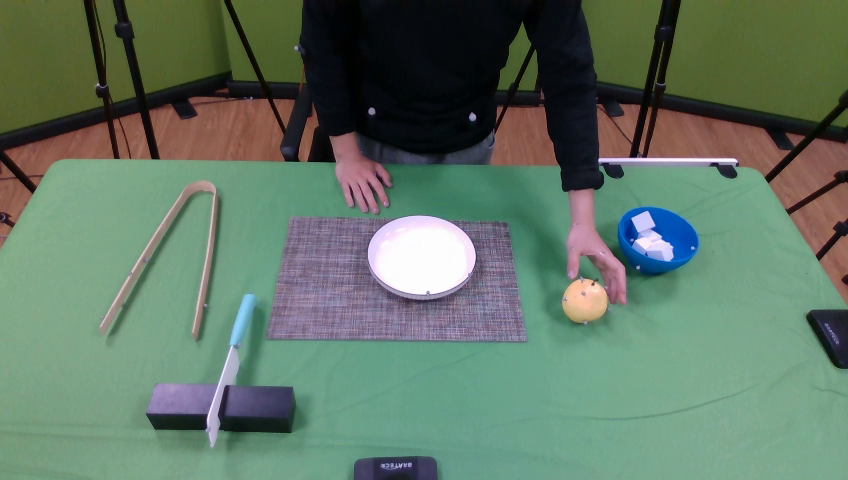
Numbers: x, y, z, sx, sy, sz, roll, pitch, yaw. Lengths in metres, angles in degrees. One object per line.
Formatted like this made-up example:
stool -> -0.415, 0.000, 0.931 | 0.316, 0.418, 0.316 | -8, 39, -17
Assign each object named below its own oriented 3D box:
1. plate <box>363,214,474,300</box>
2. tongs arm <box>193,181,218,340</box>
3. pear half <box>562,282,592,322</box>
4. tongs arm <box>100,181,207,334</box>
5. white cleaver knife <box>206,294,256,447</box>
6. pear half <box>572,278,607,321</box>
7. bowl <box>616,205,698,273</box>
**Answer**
plate -> -0.010, 0.036, 1.146 | 0.208, 0.039, 0.206 | 3, 46, -2
tongs arm -> -0.413, 0.024, 1.140 | 0.028, 0.028, 0.385 | -6, 47, -7
pear half -> 0.264, 0.111, 1.065 | 0.031, 0.088, 0.070 | -20, 61, -21
tongs arm -> -0.494, 0.018, 1.132 | 0.051, 0.026, 0.382 | 6, 45, 0
white cleaver knife -> -0.305, 0.191, 0.956 | 0.021, 0.066, 0.284 | 5, 36, -4
pear half -> 0.297, 0.094, 1.069 | 0.056, 0.110, 0.076 | -21, 62, -20
bowl -> 0.443, 0.011, 1.182 | 0.151, 0.077, 0.150 | 2, 46, -2
